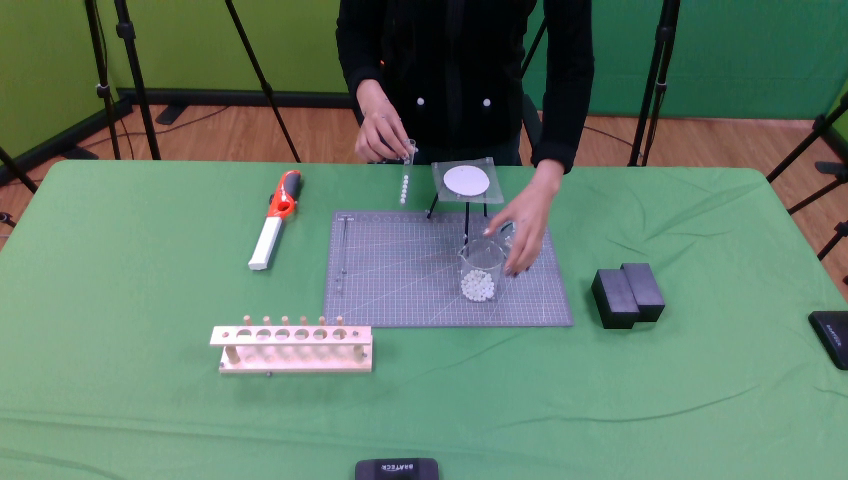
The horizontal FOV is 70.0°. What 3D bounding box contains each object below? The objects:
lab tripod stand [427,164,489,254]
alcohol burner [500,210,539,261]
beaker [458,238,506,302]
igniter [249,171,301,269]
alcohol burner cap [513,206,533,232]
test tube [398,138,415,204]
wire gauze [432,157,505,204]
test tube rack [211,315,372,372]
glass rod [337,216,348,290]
[{"bbox_3d":[0.077,-0.068,1.187,0.148,0.132,0.147,3,47,-3],"label":"lab tripod stand"},{"bbox_3d":[0.185,-0.016,1.159,0.078,0.119,0.077,2,48,-2],"label":"alcohol burner"},{"bbox_3d":[0.099,0.057,1.093,0.084,0.101,0.073,7,46,3],"label":"beaker"},{"bbox_3d":[-0.297,-0.049,1.221,0.057,0.025,0.275,-1,45,9],"label":"igniter"},{"bbox_3d":[0.187,-0.043,1.134,0.034,0.048,0.033,6,40,-5],"label":"alcohol burner cap"},{"bbox_3d":[-0.032,-0.119,1.078,0.017,0.151,0.017,5,48,-5],"label":"test tube"},{"bbox_3d":[0.081,-0.112,1.137,0.125,0.011,0.120,-2,48,-6],"label":"wire gauze"},{"bbox_3d":[-0.208,0.163,0.982,0.242,0.085,0.066,1,46,-4],"label":"test tube rack"},{"bbox_3d":[-0.158,0.021,1.171,0.008,0.008,0.198,1,43,-2],"label":"glass rod"}]
